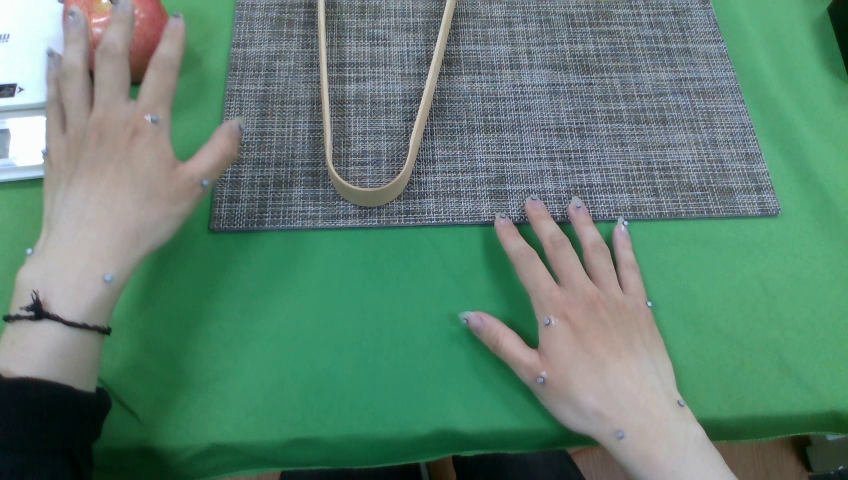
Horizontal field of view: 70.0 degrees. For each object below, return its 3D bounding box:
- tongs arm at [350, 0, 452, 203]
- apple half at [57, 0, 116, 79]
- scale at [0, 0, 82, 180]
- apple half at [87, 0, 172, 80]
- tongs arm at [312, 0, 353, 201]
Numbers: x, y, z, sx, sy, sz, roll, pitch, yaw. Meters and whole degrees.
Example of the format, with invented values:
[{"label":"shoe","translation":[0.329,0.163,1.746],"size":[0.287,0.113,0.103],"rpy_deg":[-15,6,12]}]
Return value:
[{"label":"tongs arm","translation":[-0.001,-0.202,0.541],"size":[0.051,0.027,0.382],"rpy_deg":[9,65,1]},{"label":"apple half","translation":[-0.275,-0.166,0.491],"size":[0.033,0.082,0.080],"rpy_deg":[-10,65,-10]},{"label":"scale","translation":[-0.360,-0.138,0.497],"size":[0.149,0.032,0.199],"rpy_deg":[-7,66,-5]},{"label":"apple half","translation":[-0.237,-0.174,0.498],"size":[0.053,0.075,0.080],"rpy_deg":[-10,62,-10]},{"label":"tongs arm","translation":[-0.086,-0.207,0.542],"size":[0.028,0.028,0.384],"rpy_deg":[-2,65,-8]}]
